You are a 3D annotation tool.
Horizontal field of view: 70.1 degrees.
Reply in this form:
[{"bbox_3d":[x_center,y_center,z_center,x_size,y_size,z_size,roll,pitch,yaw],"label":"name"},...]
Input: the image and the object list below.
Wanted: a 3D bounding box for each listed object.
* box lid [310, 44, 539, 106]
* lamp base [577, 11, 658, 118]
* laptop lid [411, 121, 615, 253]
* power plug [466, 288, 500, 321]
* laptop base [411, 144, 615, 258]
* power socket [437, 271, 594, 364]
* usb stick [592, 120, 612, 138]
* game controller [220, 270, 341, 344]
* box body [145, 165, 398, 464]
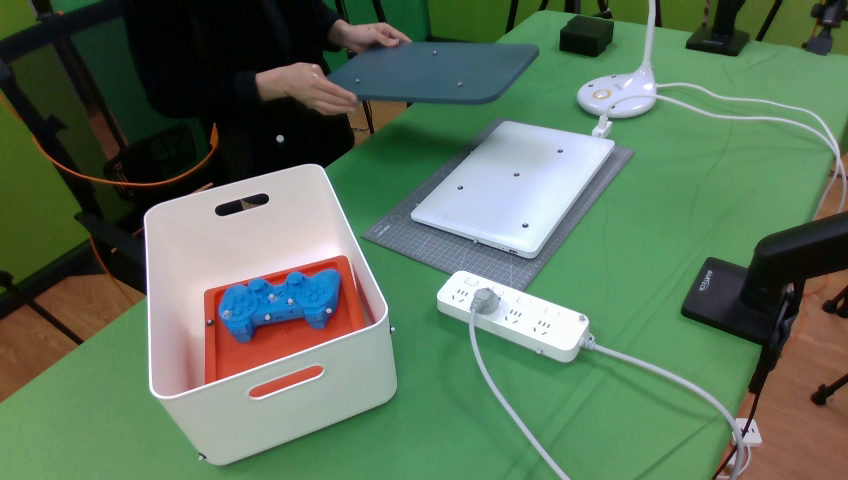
[{"bbox_3d":[0.003,-0.308,1.106,0.369,0.015,0.263,10,39,26],"label":"box lid"},{"bbox_3d":[0.406,-0.363,1.222,0.180,0.181,0.159,-20,42,-18],"label":"lamp base"},{"bbox_3d":[0.164,-0.112,1.068,0.240,0.013,0.357,19,46,31],"label":"laptop lid"},{"bbox_3d":[0.072,0.093,0.813,0.035,0.053,0.073,30,54,35],"label":"power plug"},{"bbox_3d":[0.167,-0.102,1.074,0.234,0.023,0.355,16,45,30],"label":"laptop base"},{"bbox_3d":[0.118,0.102,0.830,0.225,0.033,0.072,20,48,28],"label":"power socket"},{"bbox_3d":[0.335,-0.203,1.149,0.021,0.027,0.059,25,52,26],"label":"usb stick"},{"bbox_3d":[-0.186,0.076,0.778,0.155,0.052,0.096,-9,45,-2],"label":"game controller"},{"bbox_3d":[-0.205,0.080,0.802,0.255,0.161,0.361,-18,41,-13],"label":"box body"}]
